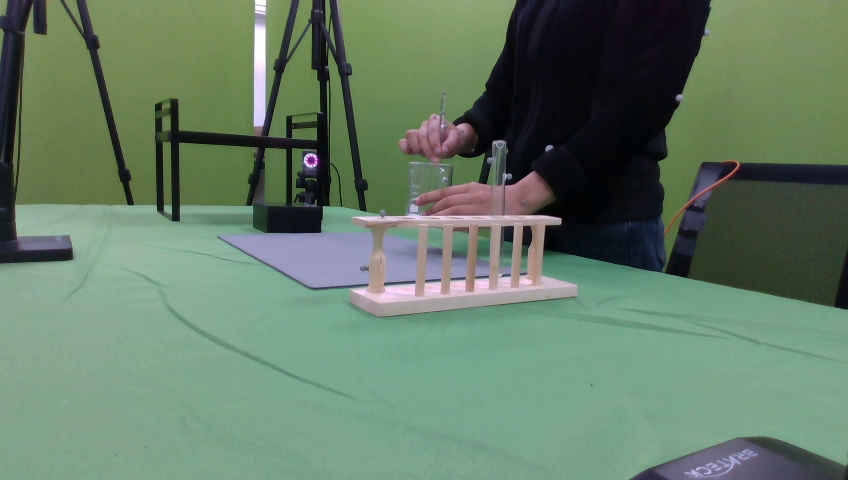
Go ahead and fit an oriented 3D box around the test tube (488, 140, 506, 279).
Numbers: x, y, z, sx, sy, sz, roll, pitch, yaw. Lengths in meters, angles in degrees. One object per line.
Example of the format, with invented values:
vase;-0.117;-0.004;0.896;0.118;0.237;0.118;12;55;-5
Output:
test tube;0.079;-0.032;0.653;0.017;0.150;0.017;1;2;0

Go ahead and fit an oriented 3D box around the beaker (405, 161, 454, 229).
beaker;0.009;-0.070;0.944;0.073;0.100;0.084;8;7;34

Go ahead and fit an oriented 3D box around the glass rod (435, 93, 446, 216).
glass rod;0.027;-0.133;0.959;0.008;0.199;0.008;3;0;0

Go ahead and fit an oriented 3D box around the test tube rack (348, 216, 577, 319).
test tube rack;0.048;0.021;0.619;0.244;0.085;0.066;-2;9;-31
